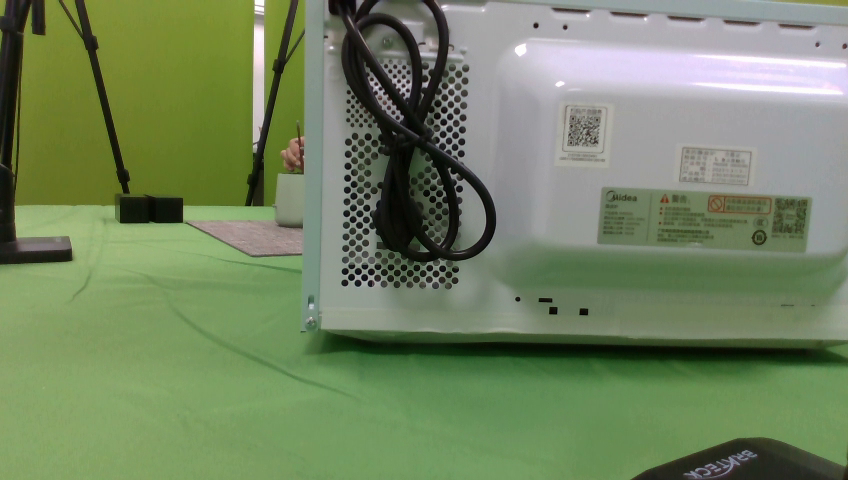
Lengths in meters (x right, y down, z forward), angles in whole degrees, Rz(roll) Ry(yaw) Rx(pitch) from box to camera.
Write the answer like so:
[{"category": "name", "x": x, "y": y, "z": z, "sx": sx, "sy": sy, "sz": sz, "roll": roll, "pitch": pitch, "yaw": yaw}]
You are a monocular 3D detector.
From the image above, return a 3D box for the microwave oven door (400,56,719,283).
[{"category": "microwave oven door", "x": 0.155, "y": -0.078, "z": 0.697, "sx": 0.356, "sy": 0.243, "sz": 0.039, "roll": 2, "pitch": 8, "yaw": -5}]

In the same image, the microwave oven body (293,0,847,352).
[{"category": "microwave oven body", "x": 0.122, "y": -0.055, "z": 0.550, "sx": 0.442, "sy": 0.260, "sz": 0.325, "roll": 3, "pitch": 7, "yaw": -5}]

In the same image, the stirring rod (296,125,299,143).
[{"category": "stirring rod", "x": -0.240, "y": -0.138, "z": 1.188, "sx": 0.006, "sy": 0.176, "sz": 0.014, "roll": -6, "pitch": 7, "yaw": -9}]

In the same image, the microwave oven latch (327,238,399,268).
[{"category": "microwave oven latch", "x": -0.069, "y": 0.014, "z": 0.694, "sx": 0.079, "sy": 0.029, "sz": 0.030, "roll": 3, "pitch": 7, "yaw": -3}]

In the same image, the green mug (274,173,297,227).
[{"category": "green mug", "x": -0.242, "y": -0.081, "z": 1.221, "sx": 0.092, "sy": 0.105, "sz": 0.126, "roll": 8, "pitch": 9, "yaw": 40}]
